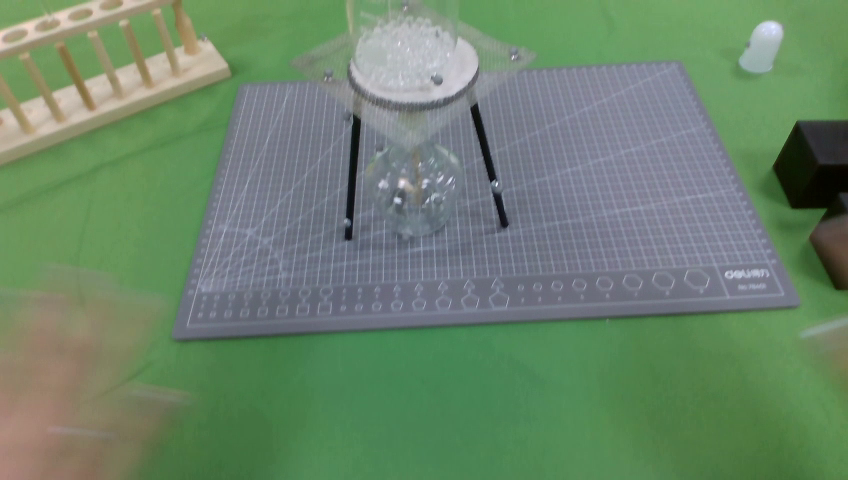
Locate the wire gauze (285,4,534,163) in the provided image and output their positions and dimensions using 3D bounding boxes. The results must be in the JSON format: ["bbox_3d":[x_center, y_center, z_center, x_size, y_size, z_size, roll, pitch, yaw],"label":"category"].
[{"bbox_3d":[-0.010,-0.115,0.406,0.121,0.011,0.124,-38,61,-24],"label":"wire gauze"}]

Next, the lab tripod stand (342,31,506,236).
[{"bbox_3d":[-0.003,-0.076,0.458,0.148,0.132,0.147,0,50,1],"label":"lab tripod stand"}]

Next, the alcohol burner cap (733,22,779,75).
[{"bbox_3d":[0.332,-0.193,0.602,0.034,0.048,0.033,-1,49,2],"label":"alcohol burner cap"}]

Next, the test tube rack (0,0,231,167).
[{"bbox_3d":[-0.322,-0.161,0.580,0.242,0.086,0.066,-28,54,-19],"label":"test tube rack"}]

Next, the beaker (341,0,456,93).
[{"bbox_3d":[-0.018,-0.149,0.370,0.084,0.101,0.073,12,51,12],"label":"beaker"}]

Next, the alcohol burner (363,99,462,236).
[{"bbox_3d":[-0.009,-0.058,0.457,0.078,0.120,0.077,0,52,1],"label":"alcohol burner"}]

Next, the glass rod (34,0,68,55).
[{"bbox_3d":[-0.335,-0.204,0.529,0.008,0.201,0.008,2,50,-2],"label":"glass rod"}]
